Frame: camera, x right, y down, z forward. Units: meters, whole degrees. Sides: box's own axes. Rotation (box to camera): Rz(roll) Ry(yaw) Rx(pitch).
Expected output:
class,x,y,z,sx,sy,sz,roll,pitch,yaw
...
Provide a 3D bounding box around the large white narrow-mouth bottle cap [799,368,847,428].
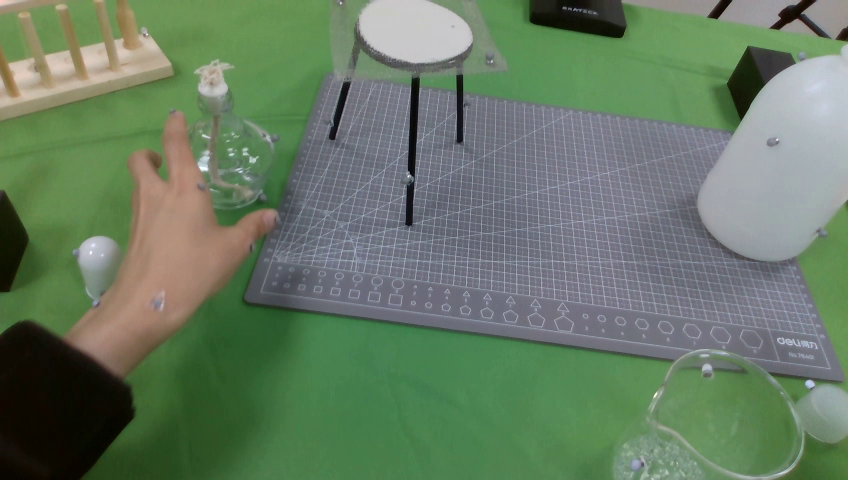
class,x,y,z,sx,sy,sz,roll,pitch,yaw
large white narrow-mouth bottle cap,0.288,0.112,0.428,0.038,0.024,0.037,4,49,-4

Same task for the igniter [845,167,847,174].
class,x,y,z,sx,sy,sz,roll,pitch,yaw
igniter,0.423,0.030,0.515,0.057,0.025,0.274,12,49,-5

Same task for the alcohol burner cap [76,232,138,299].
class,x,y,z,sx,sy,sz,roll,pitch,yaw
alcohol burner cap,-0.221,0.016,0.419,0.034,0.048,0.033,5,49,-6

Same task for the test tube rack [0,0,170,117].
class,x,y,z,sx,sy,sz,roll,pitch,yaw
test tube rack,-0.362,-0.168,0.527,0.243,0.086,0.066,-25,58,-27

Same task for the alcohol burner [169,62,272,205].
class,x,y,z,sx,sy,sz,roll,pitch,yaw
alcohol burner,-0.158,-0.085,0.468,0.078,0.120,0.077,5,48,-6

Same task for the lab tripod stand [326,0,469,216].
class,x,y,z,sx,sy,sz,roll,pitch,yaw
lab tripod stand,-0.016,-0.115,0.499,0.148,0.132,0.147,5,50,-6

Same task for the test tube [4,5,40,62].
class,x,y,z,sx,sy,sz,roll,pitch,yaw
test tube,-0.352,-0.219,0.507,0.017,0.151,0.017,5,44,-4

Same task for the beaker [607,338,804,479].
class,x,y,z,sx,sy,sz,roll,pitch,yaw
beaker,0.152,0.116,0.352,0.084,0.101,0.073,-2,49,-8

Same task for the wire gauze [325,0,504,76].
class,x,y,z,sx,sy,sz,roll,pitch,yaw
wire gauze,-0.012,-0.161,0.449,0.122,0.011,0.123,-2,51,-12

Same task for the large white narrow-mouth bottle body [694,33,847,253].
class,x,y,z,sx,sy,sz,roll,pitch,yaw
large white narrow-mouth bottle body,0.300,-0.084,0.479,0.102,0.196,0.101,4,49,-4
